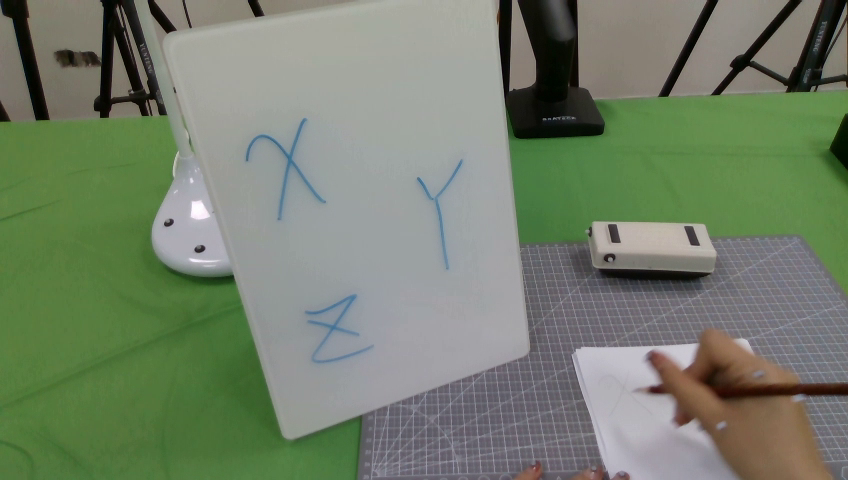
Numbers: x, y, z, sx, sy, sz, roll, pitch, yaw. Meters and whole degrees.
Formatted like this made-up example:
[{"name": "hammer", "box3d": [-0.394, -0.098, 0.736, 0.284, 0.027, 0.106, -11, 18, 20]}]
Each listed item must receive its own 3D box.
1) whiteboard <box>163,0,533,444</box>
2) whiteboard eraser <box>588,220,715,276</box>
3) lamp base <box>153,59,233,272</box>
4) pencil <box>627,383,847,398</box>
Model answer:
[{"name": "whiteboard", "box3d": [-0.051, -0.031, 0.498, 0.217, 0.307, 0.142, -16, 23, -14]}, {"name": "whiteboard eraser", "box3d": [0.222, 0.008, 0.598, 0.112, 0.042, 0.055, 2, 42, 5]}, {"name": "lamp base", "box3d": [-0.224, -0.084, 0.619, 0.177, 0.182, 0.160, 26, 48, 33]}, {"name": "pencil", "box3d": [0.199, 0.096, 0.382, 0.012, 0.194, 0.012, 7, 74, -25]}]
